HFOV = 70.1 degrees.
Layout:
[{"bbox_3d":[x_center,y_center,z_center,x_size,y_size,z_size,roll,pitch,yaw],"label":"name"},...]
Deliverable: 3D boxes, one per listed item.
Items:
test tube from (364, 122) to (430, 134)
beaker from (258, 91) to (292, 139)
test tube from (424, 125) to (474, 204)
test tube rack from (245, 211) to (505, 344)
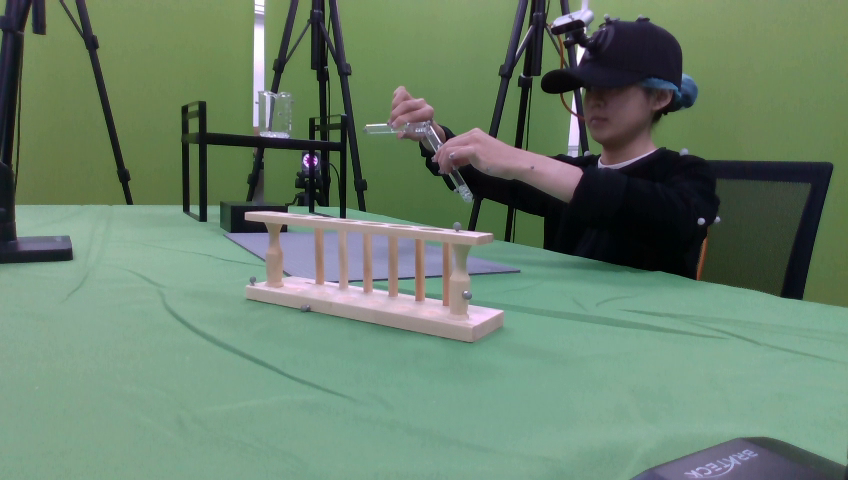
[{"bbox_3d":[-0.048,-0.184,0.996,0.149,0.017,0.017,8,9,44],"label":"test tube"},{"bbox_3d":[-0.331,-0.276,1.343,0.074,0.100,0.083,0,8,-20],"label":"beaker"},{"bbox_3d":[0.037,-0.115,0.917,0.017,0.150,0.017,-23,-24,-11],"label":"test tube"},{"bbox_3d":[-0.049,0.025,0.547,0.241,0.085,0.067,7,8,28],"label":"test tube rack"}]
